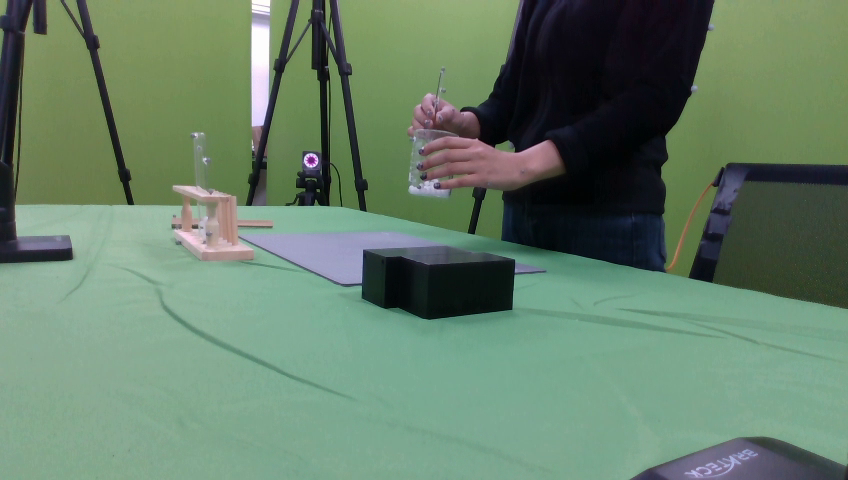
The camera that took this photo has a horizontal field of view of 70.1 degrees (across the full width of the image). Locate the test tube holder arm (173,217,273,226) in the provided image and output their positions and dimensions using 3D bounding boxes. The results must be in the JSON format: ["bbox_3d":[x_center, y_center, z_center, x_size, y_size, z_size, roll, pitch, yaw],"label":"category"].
[{"bbox_3d":[-0.371,-0.033,1.128,0.179,0.015,0.013,-1,-22,-26],"label":"test tube holder arm"}]

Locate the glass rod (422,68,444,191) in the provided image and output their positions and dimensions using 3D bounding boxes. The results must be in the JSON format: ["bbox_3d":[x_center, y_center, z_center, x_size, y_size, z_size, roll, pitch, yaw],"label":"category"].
[{"bbox_3d":[0.015,-0.177,0.975,0.008,0.199,0.008,9,3,0],"label":"glass rod"}]

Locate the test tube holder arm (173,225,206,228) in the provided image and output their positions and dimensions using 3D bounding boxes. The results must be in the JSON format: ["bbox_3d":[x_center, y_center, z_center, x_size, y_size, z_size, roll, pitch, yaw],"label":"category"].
[{"bbox_3d":[-0.415,-0.030,1.113,0.088,0.015,0.010,-1,-22,-25],"label":"test tube holder arm"}]

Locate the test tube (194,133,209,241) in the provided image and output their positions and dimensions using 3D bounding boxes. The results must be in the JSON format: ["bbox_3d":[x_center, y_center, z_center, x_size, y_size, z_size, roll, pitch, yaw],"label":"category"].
[{"bbox_3d":[-0.307,-0.074,0.842,0.017,0.150,0.017,-3,2,0],"label":"test tube"}]

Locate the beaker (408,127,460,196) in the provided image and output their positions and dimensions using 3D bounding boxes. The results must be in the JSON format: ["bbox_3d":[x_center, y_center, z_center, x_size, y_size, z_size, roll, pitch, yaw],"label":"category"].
[{"bbox_3d":[0.013,-0.121,0.950,0.074,0.100,0.084,6,1,-14],"label":"beaker"}]

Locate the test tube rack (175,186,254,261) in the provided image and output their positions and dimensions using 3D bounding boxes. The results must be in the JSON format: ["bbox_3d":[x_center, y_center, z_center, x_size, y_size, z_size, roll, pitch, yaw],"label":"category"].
[{"bbox_3d":[-0.314,-0.031,0.889,0.067,0.085,0.241,-2,8,-30],"label":"test tube rack"}]
